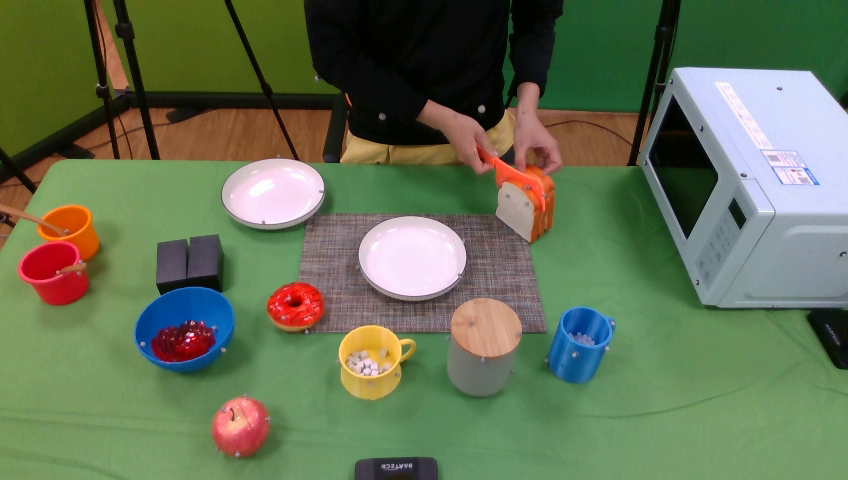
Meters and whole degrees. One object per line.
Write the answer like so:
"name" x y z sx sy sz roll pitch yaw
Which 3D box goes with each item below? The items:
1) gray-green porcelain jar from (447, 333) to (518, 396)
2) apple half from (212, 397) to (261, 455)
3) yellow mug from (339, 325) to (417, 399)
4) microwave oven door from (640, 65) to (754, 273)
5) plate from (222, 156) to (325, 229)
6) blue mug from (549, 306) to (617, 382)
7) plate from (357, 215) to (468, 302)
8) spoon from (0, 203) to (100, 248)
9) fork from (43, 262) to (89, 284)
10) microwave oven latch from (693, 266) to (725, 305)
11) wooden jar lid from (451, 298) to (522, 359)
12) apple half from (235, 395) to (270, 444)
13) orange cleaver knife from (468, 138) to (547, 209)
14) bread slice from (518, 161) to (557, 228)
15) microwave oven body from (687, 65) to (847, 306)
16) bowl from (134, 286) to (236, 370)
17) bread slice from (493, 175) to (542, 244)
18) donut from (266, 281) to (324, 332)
"gray-green porcelain jar" 0.091 0.178 0.960 0.106 0.127 0.105 2 46 -2
"apple half" -0.276 0.276 0.877 0.053 0.075 0.080 -29 58 -21
"yellow mug" -0.072 0.190 0.978 0.131 0.064 0.099 -17 50 -20
"microwave oven door" 0.523 -0.147 1.193 0.039 0.245 0.353 0 47 -3
"plate" -0.308 -0.095 1.251 0.209 0.038 0.208 2 46 -2
"blue mug" 0.269 0.166 0.998 0.116 0.106 0.082 -19 51 -21
"plate" -0.022 0.037 1.141 0.208 0.039 0.206 2 46 -2
"spoon" -0.683 -0.031 1.088 0.195 0.021 0.041 33 33 -38
"fork" -0.599 0.053 1.014 0.207 0.019 0.028 -14 30 45
"microwave oven latch" 0.523 0.082 1.116 0.030 0.029 0.078 2 46 -1
"wooden jar lid" 0.093 0.135 0.914 0.108 0.021 0.107 3 48 -3
"apple half" -0.245 0.259 0.893 0.033 0.082 0.081 -29 55 -22
"orange cleaver knife" 0.162 -0.132 1.187 0.012 0.077 0.210 -34 54 -24
"bread slice" 0.226 -0.095 1.223 0.018 0.135 0.106 -34 57 -24
"microwave oven body" 0.669 -0.111 1.176 0.326 0.261 0.439 0 46 -3
"bowl" -0.377 0.156 0.981 0.151 0.077 0.150 2 46 -2
"bread slice" 0.183 -0.064 1.191 0.019 0.132 0.104 -32 60 -28
"donut" -0.222 0.114 1.049 0.099 0.048 0.098 2 45 -2
